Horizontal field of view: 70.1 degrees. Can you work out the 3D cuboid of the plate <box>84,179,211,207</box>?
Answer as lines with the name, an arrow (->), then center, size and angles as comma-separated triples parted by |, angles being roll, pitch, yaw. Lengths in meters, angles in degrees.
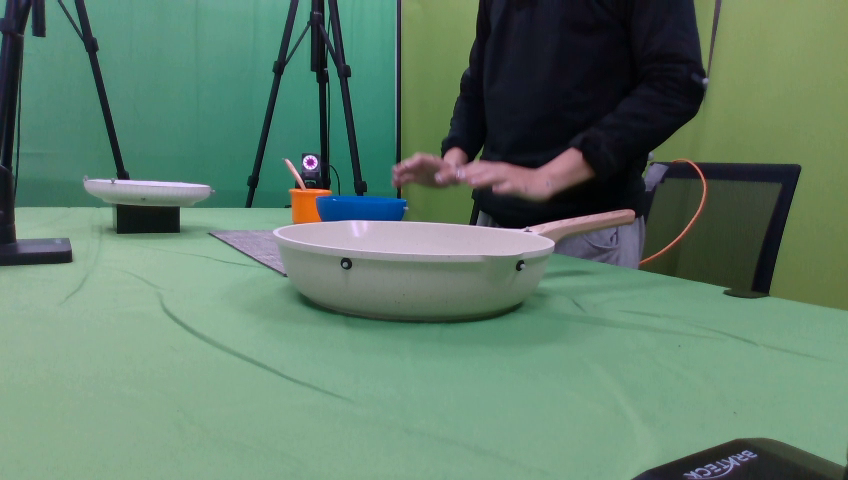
plate -> -0.495, -0.085, 1.093 | 0.208, 0.039, 0.207 | 4, 7, 0

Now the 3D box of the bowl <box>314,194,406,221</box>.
bowl -> -0.105, -0.032, 0.991 | 0.151, 0.077, 0.151 | 3, 7, 0

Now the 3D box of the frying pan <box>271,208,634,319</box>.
frying pan -> 0.076, 0.003, 0.695 | 0.490, 0.102, 0.305 | -12, 14, -30

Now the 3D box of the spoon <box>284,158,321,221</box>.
spoon -> -0.269, -0.113, 1.335 | 0.042, 0.193, 0.021 | -4, -34, -42
